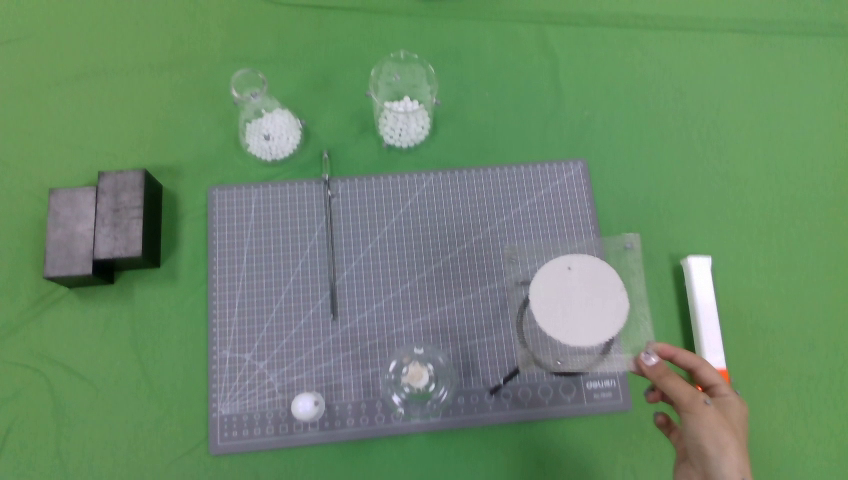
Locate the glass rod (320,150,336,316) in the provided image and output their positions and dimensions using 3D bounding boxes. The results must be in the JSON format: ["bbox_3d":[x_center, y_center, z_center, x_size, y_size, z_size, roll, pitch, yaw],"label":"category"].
[{"bbox_3d":[-0.110,-0.011,0.692,0.008,0.008,0.198,-5,75,-4],"label":"glass rod"}]

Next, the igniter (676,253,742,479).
[{"bbox_3d":[0.311,0.149,0.662,0.057,0.025,0.275,2,75,-13],"label":"igniter"}]

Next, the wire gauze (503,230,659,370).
[{"bbox_3d":[0.136,0.052,0.534,0.125,0.011,0.120,-3,71,2],"label":"wire gauze"}]

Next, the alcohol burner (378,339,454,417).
[{"bbox_3d":[-0.008,0.137,0.603,0.078,0.119,0.077,1,76,-2],"label":"alcohol burner"}]

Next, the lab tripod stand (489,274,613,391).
[{"bbox_3d":[0.124,0.096,0.610,0.148,0.132,0.147,1,76,-2],"label":"lab tripod stand"}]

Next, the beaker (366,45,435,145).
[{"bbox_3d":[-0.027,-0.161,0.694,0.074,0.101,0.083,-3,74,-3],"label":"beaker"}]

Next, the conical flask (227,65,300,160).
[{"bbox_3d":[-0.183,-0.144,0.670,0.075,0.122,0.075,1,74,-2],"label":"conical flask"}]

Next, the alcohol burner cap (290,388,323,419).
[{"bbox_3d":[-0.123,0.169,0.627,0.034,0.048,0.033,1,75,-3],"label":"alcohol burner cap"}]
